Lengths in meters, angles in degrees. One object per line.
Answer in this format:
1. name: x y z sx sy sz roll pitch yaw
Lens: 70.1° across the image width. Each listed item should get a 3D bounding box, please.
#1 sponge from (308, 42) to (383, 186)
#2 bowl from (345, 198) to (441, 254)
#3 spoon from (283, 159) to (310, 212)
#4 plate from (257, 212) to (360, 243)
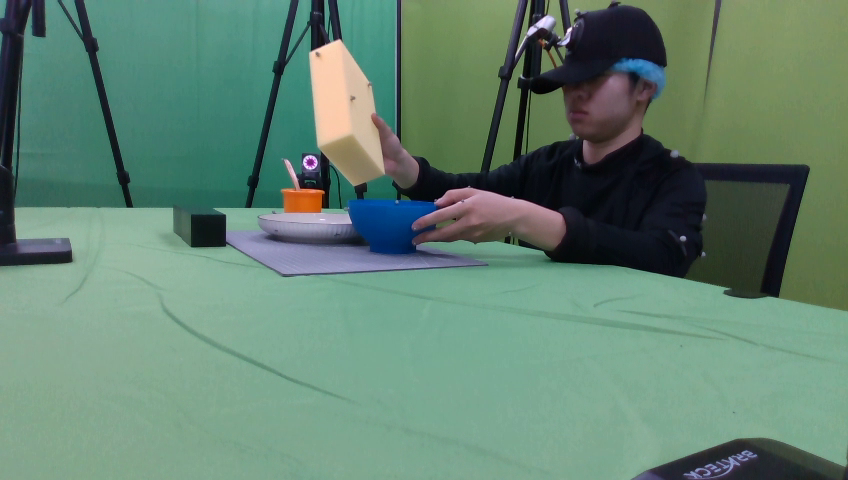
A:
1. sponge: -0.131 -0.210 1.007 0.061 0.206 0.119 -19 -31 14
2. bowl: -0.050 -0.022 0.951 0.151 0.077 0.151 3 8 0
3. spoon: -0.279 -0.111 1.324 0.042 0.193 0.021 3 -39 -36
4. plate: -0.189 -0.023 1.072 0.209 0.038 0.209 3 7 0
